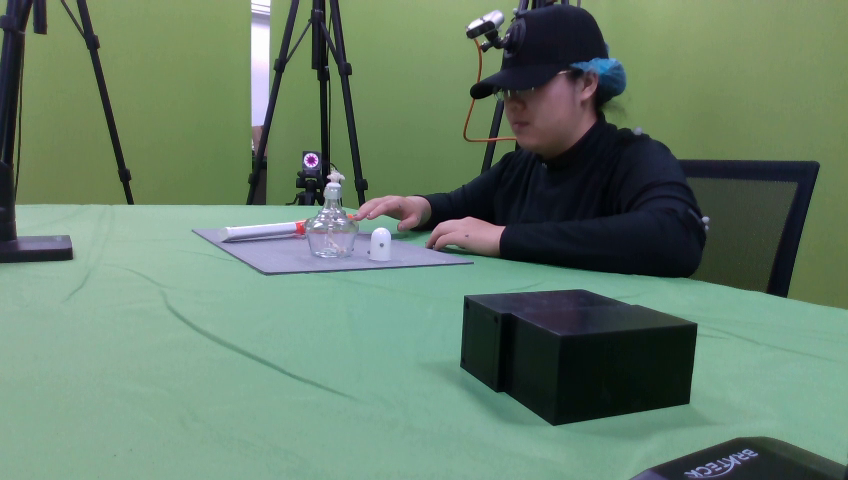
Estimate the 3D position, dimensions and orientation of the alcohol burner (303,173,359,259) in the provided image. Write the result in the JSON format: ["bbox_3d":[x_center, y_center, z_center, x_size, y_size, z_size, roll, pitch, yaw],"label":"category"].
[{"bbox_3d":[-0.130,-0.034,0.850,0.078,0.119,0.078,2,5,0],"label":"alcohol burner"}]

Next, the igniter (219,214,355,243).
[{"bbox_3d":[-0.219,-0.021,1.033,0.057,0.025,0.278,-20,-7,39],"label":"igniter"}]

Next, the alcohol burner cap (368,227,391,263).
[{"bbox_3d":[-0.060,0.006,0.836,0.034,0.048,0.034,3,7,0],"label":"alcohol burner cap"}]
